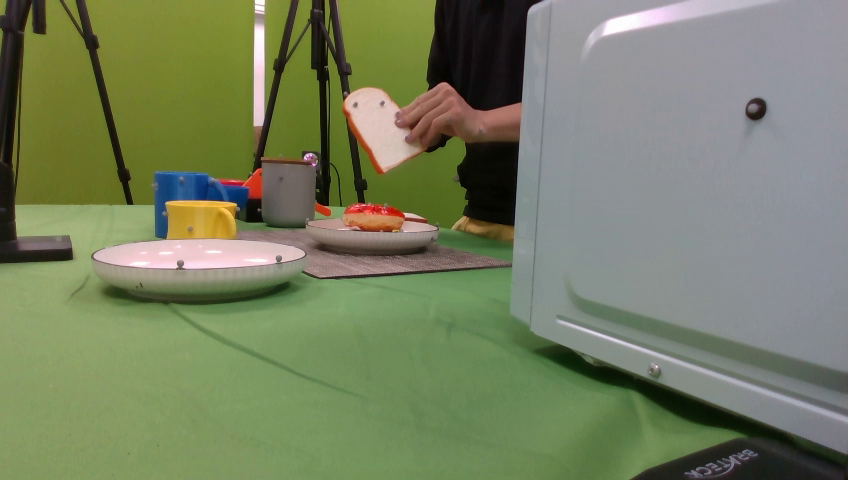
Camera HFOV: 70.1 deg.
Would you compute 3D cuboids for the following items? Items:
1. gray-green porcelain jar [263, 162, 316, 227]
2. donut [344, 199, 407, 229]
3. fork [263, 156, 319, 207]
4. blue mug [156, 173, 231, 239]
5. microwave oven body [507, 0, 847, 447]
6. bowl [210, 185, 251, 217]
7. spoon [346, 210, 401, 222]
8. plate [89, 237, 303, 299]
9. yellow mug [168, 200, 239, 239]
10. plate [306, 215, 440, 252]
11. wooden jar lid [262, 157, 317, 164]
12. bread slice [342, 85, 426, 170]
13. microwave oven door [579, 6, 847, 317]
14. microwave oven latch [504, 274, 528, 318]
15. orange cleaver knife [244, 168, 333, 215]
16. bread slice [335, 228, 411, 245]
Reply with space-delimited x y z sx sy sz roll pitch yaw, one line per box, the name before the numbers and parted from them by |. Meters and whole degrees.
gray-green porcelain jar | -0.271 -0.092 1.217 0.106 0.126 0.106 2 7 0
donut | -0.077 -0.039 0.948 0.099 0.048 0.099 2 4 0
fork | -0.331 -0.144 1.505 0.207 0.018 0.028 -42 -20 22
blue mug | -0.381 -0.057 1.004 0.117 0.106 0.082 0 8 -12
microwave oven body | 0.331 -0.042 0.425 0.444 0.260 0.324 -2 8 -31
bowl | -0.408 -0.064 1.155 0.151 0.077 0.151 2 8 0
spoon | -0.121 -0.060 1.400 0.042 0.021 0.192 -28 25 -37
plate | -0.233 0.029 0.637 0.208 0.039 0.207 2 7 0
yellow mug | -0.320 -0.023 0.904 0.130 0.064 0.100 9 11 36
plate | -0.080 -0.011 0.949 0.209 0.038 0.209 2 8 0
wooden jar lid | -0.269 -0.154 1.208 0.108 0.020 0.108 3 4 0
bread slice | -0.069 -0.179 0.943 0.018 0.134 0.107 -33 5 45
microwave oven door | 0.294 -0.067 0.570 0.358 0.243 0.039 -3 9 -31
microwave oven latch | 0.100 0.041 0.471 0.079 0.029 0.030 -1 8 -28
orange cleaver knife | -0.300 -0.089 1.351 0.212 0.077 0.012 28 -9 -34
bread slice | -0.075 -0.006 0.937 0.105 0.019 0.131 -2 5 -19
